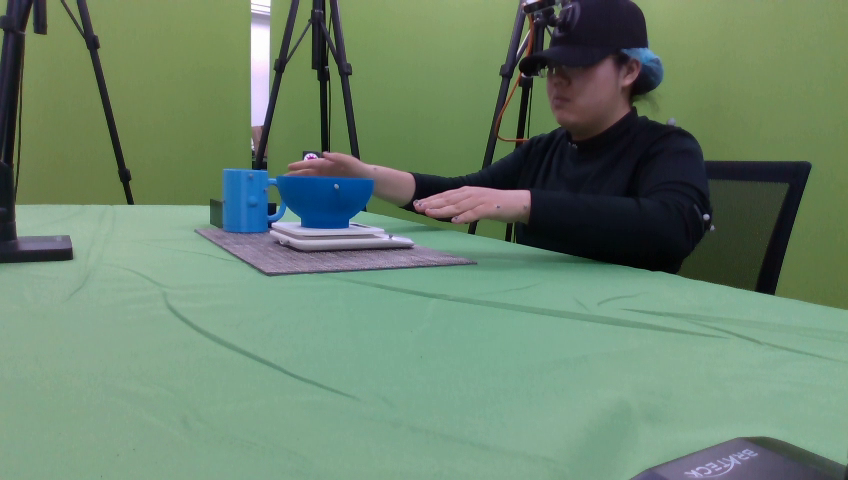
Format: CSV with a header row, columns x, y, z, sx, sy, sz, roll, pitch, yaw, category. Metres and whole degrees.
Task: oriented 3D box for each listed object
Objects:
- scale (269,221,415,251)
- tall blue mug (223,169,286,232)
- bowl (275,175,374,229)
x,y,z,sx,sy,sz,roll,pitch,yaw,category
-0.130,-0.008,0.959,0.202,0.031,0.148,-1,9,-32,scale
-0.310,-0.072,1.091,0.077,0.108,0.107,5,8,27,tall blue mug
-0.153,-0.059,0.932,0.151,0.077,0.151,3,6,0,bowl
